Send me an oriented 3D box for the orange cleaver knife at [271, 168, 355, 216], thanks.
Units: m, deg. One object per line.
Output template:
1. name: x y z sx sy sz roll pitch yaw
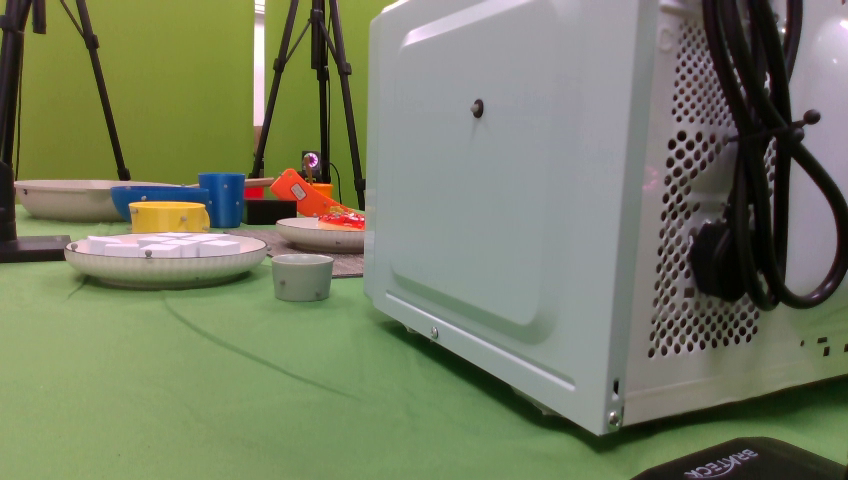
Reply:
1. orange cleaver knife: -0.236 -0.084 1.333 0.212 0.077 0.012 31 -9 -31

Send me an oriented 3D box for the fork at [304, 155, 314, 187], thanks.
1. fork: -0.268 -0.134 1.447 0.028 0.018 0.207 2 -36 -1

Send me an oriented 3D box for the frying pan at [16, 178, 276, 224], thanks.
1. frying pan: -0.553 -0.096 1.266 0.490 0.102 0.305 -10 13 -24

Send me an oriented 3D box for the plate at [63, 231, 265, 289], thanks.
1. plate: -0.288 0.021 0.687 0.208 0.039 0.207 2 8 0

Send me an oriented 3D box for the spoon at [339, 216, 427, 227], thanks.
1. spoon: -0.087 -0.041 1.268 0.193 0.021 0.041 3 19 13

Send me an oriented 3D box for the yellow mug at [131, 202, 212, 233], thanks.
1. yellow mug: -0.356 -0.020 0.878 0.099 0.064 0.131 5 7 21

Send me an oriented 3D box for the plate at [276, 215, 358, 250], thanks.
1. plate: -0.126 -0.012 0.950 0.209 0.038 0.209 2 7 0

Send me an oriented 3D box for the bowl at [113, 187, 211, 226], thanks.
1. bowl: -0.436 -0.046 1.013 0.151 0.077 0.151 2 7 0

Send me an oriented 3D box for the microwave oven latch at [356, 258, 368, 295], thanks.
1. microwave oven latch: -0.019 0.031 0.529 0.079 0.029 0.030 -1 7 -26

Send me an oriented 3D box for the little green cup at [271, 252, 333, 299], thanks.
1. little green cup: -0.122 0.035 0.605 0.061 0.038 0.061 3 6 0

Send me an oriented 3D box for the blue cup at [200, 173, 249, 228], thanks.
1. blue cup: -0.380 -0.076 1.154 0.093 0.100 0.092 0 8 0

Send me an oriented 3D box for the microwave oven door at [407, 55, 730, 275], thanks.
1. microwave oven door: 0.162 -0.087 0.706 0.356 0.243 0.039 2 8 2

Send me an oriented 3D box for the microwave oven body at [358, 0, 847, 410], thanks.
1. microwave oven body: 0.210 -0.051 0.471 0.444 0.260 0.324 -1 7 -28

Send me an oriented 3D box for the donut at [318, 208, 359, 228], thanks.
1. donut: -0.118 -0.024 0.954 0.099 0.048 0.099 5 7 0
